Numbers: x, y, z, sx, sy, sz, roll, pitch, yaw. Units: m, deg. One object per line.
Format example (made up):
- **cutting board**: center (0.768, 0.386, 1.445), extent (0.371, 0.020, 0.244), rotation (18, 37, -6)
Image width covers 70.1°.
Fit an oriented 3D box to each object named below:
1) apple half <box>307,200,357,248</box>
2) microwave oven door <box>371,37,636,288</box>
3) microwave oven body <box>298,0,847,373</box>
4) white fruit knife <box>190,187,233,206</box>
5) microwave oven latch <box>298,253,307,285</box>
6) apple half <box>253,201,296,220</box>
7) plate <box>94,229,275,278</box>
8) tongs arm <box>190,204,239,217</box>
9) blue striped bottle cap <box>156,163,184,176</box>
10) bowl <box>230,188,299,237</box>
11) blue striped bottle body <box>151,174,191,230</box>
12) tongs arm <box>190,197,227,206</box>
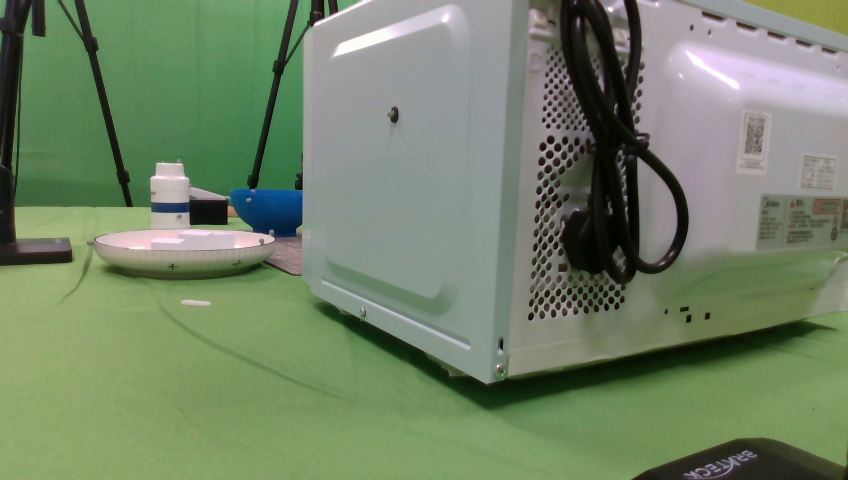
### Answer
- **apple half**: center (-0.135, -0.024, 0.941), extent (0.053, 0.074, 0.081), rotation (13, 8, 39)
- **microwave oven door**: center (0.109, -0.080, 0.686), extent (0.358, 0.243, 0.039), rotation (-2, 9, -33)
- **microwave oven body**: center (0.151, -0.055, 0.542), extent (0.444, 0.260, 0.324), rotation (-2, 7, -33)
- **white fruit knife**: center (-0.413, -0.081, 1.270), extent (0.208, 0.027, 0.016), rotation (17, 13, -41)
- **microwave oven latch**: center (-0.081, 0.027, 0.582), extent (0.079, 0.029, 0.030), rotation (-1, 7, -32)
- **apple half**: center (-0.264, -0.053, 1.066), extent (0.081, 0.033, 0.081), rotation (1, 8, 0)
- **plate**: center (-0.291, 0.016, 0.750), extent (0.208, 0.039, 0.207), rotation (2, 7, 0)
- **tongs arm**: center (-0.396, -0.067, 1.399), extent (0.389, 0.028, 0.028), rotation (1, 5, -15)
- **blue striped bottle cap**: center (-0.438, -0.122, 1.045), extent (0.044, 0.020, 0.044), rotation (4, 6, 0)
- **bowl**: center (-0.264, -0.048, 1.065), extent (0.151, 0.077, 0.151), rotation (3, 8, 0)
- **blue striped bottle body**: center (-0.439, -0.071, 1.052), extent (0.063, 0.120, 0.063), rotation (2, 7, 0)
- **tongs arm**: center (-0.404, -0.081, 1.479), extent (0.385, 0.026, 0.050), rotation (3, 8, -2)
